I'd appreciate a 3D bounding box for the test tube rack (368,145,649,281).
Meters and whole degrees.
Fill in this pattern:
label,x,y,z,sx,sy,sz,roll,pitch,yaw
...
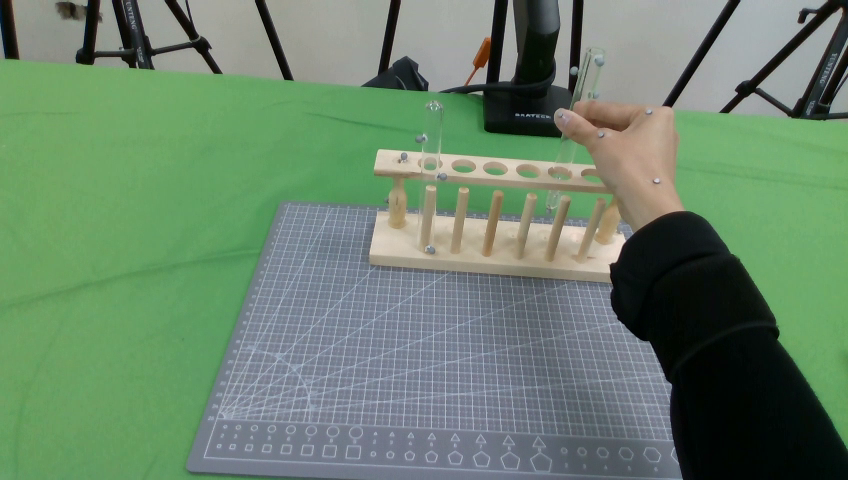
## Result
label,x,y,z,sx,sy,sz,roll,pitch,yaw
test tube rack,0.073,-0.024,0.553,0.242,0.086,0.066,5,41,0

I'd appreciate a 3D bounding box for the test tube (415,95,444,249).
label,x,y,z,sx,sy,sz,roll,pitch,yaw
test tube,0.004,-0.052,0.510,0.017,0.152,0.017,3,40,-2

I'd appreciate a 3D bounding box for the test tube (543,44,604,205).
label,x,y,z,sx,sy,sz,roll,pitch,yaw
test tube,0.125,-0.092,0.518,0.017,0.151,0.017,5,39,-4
